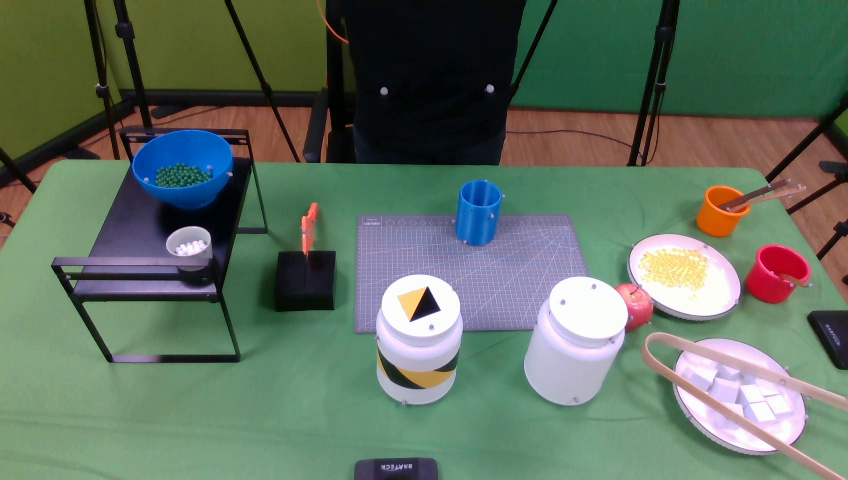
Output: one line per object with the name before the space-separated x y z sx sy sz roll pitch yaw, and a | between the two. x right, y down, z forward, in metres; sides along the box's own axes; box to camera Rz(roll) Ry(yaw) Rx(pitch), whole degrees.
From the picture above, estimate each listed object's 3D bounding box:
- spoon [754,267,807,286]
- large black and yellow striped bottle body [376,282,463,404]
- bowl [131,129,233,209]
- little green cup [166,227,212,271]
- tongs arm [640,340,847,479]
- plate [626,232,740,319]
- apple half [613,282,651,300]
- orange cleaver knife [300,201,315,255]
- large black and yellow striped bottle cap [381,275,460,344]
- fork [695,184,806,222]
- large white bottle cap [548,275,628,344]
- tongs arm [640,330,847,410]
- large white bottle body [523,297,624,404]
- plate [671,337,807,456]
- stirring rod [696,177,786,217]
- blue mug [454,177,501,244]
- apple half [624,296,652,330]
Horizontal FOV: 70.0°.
spoon | 0.648 0.065 1.100 0.041 0.021 0.194 15 3 10
large black and yellow striped bottle body | -0.010 0.155 0.937 0.131 0.185 0.130 2 47 -2
bowl | -0.381 -0.103 0.978 0.151 0.077 0.150 2 46 -2
little green cup | -0.344 0.014 0.895 0.061 0.039 0.061 3 46 -3
tongs arm | 0.500 0.277 0.919 0.386 0.028 0.028 34 59 22
plate | 0.488 0.071 1.157 0.209 0.038 0.208 3 46 -3
apple half | 0.356 0.109 1.086 0.081 0.075 0.053 -14 45 -12
orange cleaver knife | -0.222 -0.027 1.161 0.012 0.077 0.210 -2 15 -4
large black and yellow striped bottle cap | -0.005 0.099 0.875 0.115 0.019 0.114 2 45 -2
fork | 0.658 -0.074 1.230 0.207 0.019 0.028 -24 33 36
large white bottle cap | 0.240 0.100 0.890 0.115 0.018 0.114 3 47 -3
tongs arm | 0.543 0.225 0.969 0.384 0.026 0.050 22 52 13
large white bottle body | 0.235 0.159 0.952 0.131 0.185 0.130 2 47 -2
plate | 0.503 0.254 0.984 0.208 0.039 0.206 2 46 -2
stirring rod | 0.648 -0.087 1.244 0.176 0.006 0.014 -25 50 29
blue mug | 0.106 -0.067 1.208 0.082 0.106 0.116 6 46 1
apple half | 0.368 0.135 1.060 0.081 0.081 0.032 -11 43 -15
